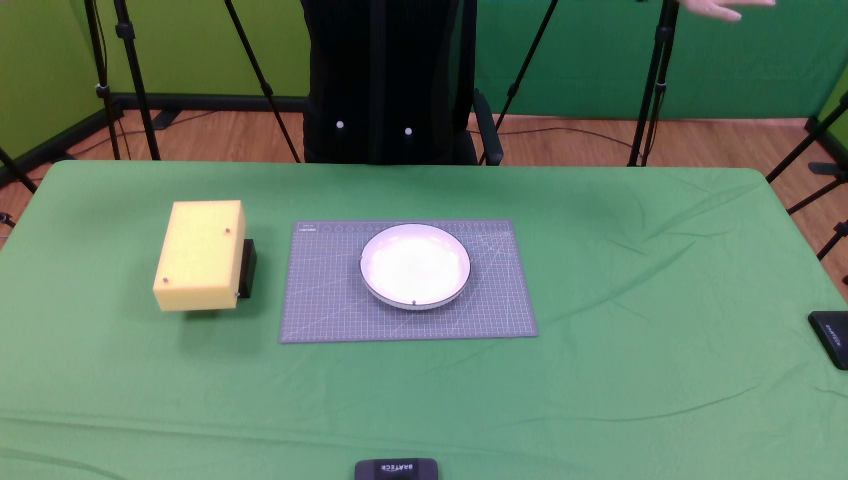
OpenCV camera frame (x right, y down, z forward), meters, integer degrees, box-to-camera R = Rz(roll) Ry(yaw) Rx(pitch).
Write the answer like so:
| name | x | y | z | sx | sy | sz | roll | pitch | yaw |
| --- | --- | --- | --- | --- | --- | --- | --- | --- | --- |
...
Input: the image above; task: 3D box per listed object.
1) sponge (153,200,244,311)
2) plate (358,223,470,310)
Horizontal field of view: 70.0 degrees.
| name | x | y | z | sx | sy | sz | roll | pitch | yaw |
| --- | --- | --- | --- | --- | --- | --- | --- | --- | --- |
| sponge | -0.384 | 0.022 | 1.051 | 0.118 | 0.061 | 0.205 | -3 | 47 | -7 |
| plate | -0.019 | 0.052 | 1.132 | 0.209 | 0.038 | 0.208 | 2 | 46 | -2 |
